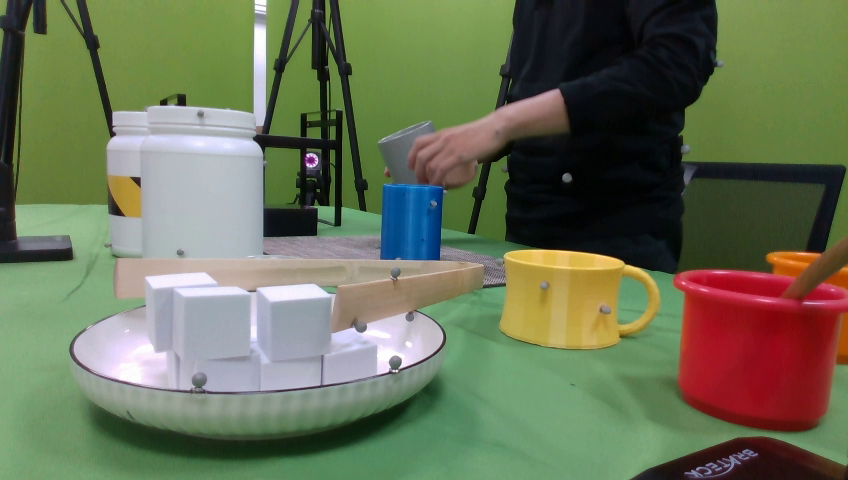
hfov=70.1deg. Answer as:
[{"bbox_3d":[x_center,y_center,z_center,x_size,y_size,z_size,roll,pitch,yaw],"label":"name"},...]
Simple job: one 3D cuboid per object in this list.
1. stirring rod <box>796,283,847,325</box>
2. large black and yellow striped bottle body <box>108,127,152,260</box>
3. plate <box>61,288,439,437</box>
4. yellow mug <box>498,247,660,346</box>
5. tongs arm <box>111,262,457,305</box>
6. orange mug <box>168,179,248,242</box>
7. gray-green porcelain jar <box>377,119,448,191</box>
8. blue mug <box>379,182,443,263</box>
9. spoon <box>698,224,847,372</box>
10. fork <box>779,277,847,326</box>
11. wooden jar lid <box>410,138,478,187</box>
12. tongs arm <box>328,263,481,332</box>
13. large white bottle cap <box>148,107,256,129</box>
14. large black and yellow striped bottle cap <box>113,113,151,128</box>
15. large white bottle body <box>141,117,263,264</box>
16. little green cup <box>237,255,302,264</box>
[{"bbox_3d":[0.346,0.019,0.460,0.014,0.176,0.006,-16,59,-26],"label":"stirring rod"},{"bbox_3d":[-0.350,-0.071,0.812,0.131,0.184,0.130,2,7,0],"label":"large black and yellow striped bottle body"},{"bbox_3d":[-0.095,0.069,0.362,0.208,0.039,0.207,3,7,0],"label":"plate"},{"bbox_3d":[0.130,0.045,0.508,0.131,0.064,0.100,4,6,6],"label":"yellow mug"},{"bbox_3d":[-0.080,0.033,0.527,0.028,0.027,0.389,-3,-4,33],"label":"tongs arm"},{"bbox_3d":[-0.351,-0.050,0.986,0.126,0.101,0.083,-3,8,-9],"label":"orange mug"},{"bbox_3d":[-0.013,-0.139,1.086,0.106,0.126,0.106,-21,15,6],"label":"gray-green porcelain jar"},{"bbox_3d":[-0.020,-0.026,0.833,0.082,0.106,0.116,1,7,-7],"label":"blue mug"},{"bbox_3d":[0.195,0.032,0.323,0.041,0.021,0.194,1,-36,2],"label":"spoon"},{"bbox_3d":[0.335,0.018,0.443,0.028,0.018,0.207,-1,-36,-20],"label":"fork"},{"bbox_3d":[0.031,-0.121,0.956,0.108,0.020,0.108,6,47,-6],"label":"wooden jar lid"},{"bbox_3d":[-0.003,0.036,0.493,0.050,0.026,0.386,1,-1,19],"label":"tongs arm"},{"bbox_3d":[-0.250,-0.137,0.686,0.115,0.018,0.115,2,8,0],"label":"large white bottle cap"},{"bbox_3d":[-0.348,-0.154,0.800,0.115,0.019,0.115,2,6,0],"label":"large black and yellow striped bottle cap"},{"bbox_3d":[-0.254,-0.054,0.697,0.131,0.184,0.130,2,7,0],"label":"large white bottle body"},{"bbox_3d":[-0.150,0.038,0.590,0.061,0.038,0.061,3,6,0],"label":"little green cup"}]
